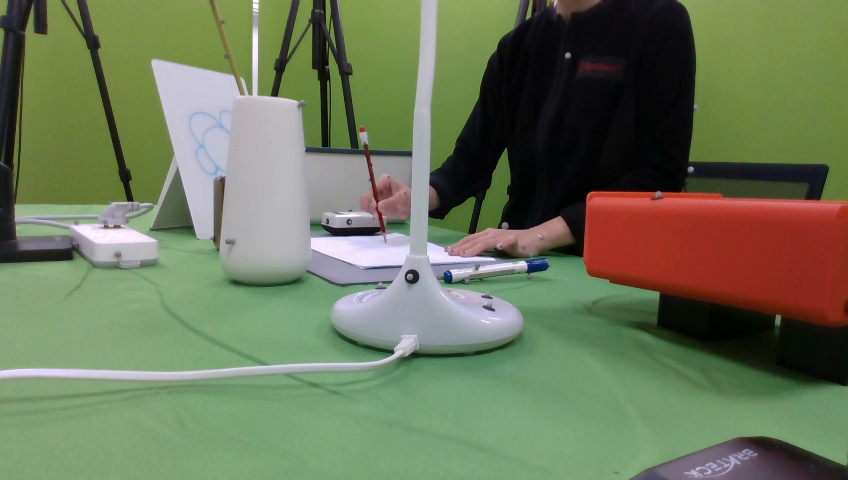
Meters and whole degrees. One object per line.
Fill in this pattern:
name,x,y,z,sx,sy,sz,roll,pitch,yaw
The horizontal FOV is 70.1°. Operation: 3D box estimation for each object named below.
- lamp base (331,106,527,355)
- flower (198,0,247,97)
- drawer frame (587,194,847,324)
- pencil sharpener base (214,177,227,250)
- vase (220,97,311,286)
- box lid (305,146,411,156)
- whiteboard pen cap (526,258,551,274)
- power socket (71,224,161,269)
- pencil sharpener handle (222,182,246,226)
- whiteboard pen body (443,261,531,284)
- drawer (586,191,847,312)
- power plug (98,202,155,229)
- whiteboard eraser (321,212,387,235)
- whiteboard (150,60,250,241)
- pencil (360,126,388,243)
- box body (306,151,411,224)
lamp base,0.006,-0.012,0.478,0.161,0.180,0.179,2,10,2
flower,-0.187,-0.133,0.648,0.038,0.362,0.044,-1,22,43
drawer frame,0.285,0.004,0.508,0.203,0.082,0.212,-1,6,-30
pencil sharpener base,-0.265,-0.036,0.870,0.061,0.107,0.076,-2,8,-29
vase,-0.172,-0.052,0.662,0.098,0.200,0.098,3,8,0
box lid,-0.229,-0.200,1.360,0.373,0.015,0.262,-3,9,-33
whiteboard pen cap,0.141,0.033,0.759,0.033,0.018,0.018,-8,11,-26
power socket,-0.408,0.004,0.793,0.072,0.032,0.225,-2,8,-38
pencil sharpener handle,-0.289,-0.055,0.912,0.036,0.067,0.030,-3,9,-29
whiteboard pen body,0.087,0.038,0.734,0.141,0.017,0.017,-5,10,-27
drawer,0.281,0.001,0.513,0.195,0.073,0.210,0,8,-29
power plug,-0.416,-0.027,0.848,0.073,0.052,0.035,0,8,-28
whiteboard eraser,-0.128,-0.031,1.108,0.113,0.042,0.055,-3,7,-38
whiteboard,-0.408,-0.139,1.093,0.143,0.305,0.218,-15,-1,26
pencil,-0.079,-0.089,0.984,0.012,0.194,0.012,-11,8,2
box body,-0.230,-0.126,1.371,0.366,0.160,0.253,-2,8,-33
